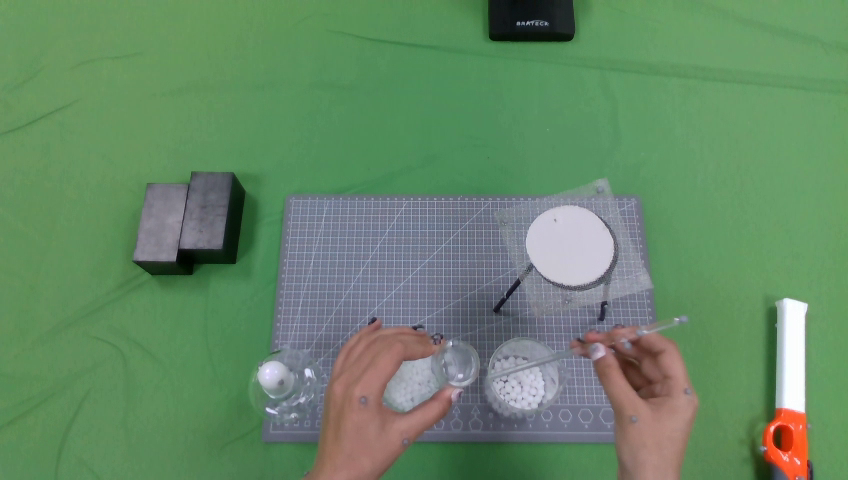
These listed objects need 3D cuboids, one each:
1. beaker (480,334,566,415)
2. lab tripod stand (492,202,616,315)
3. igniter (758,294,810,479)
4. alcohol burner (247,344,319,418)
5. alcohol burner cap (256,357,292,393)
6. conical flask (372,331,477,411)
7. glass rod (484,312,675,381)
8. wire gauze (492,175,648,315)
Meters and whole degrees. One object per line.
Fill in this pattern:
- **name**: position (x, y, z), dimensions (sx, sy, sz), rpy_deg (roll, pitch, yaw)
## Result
- **beaker**: position (0.100, 0.145, 0.641), dimensions (0.084, 0.101, 0.073), rpy_deg (-1, 70, -1)
- **lab tripod stand**: position (0.146, 0.028, 0.666), dimensions (0.148, 0.132, 0.147), rpy_deg (0, 71, 1)
- **igniter**: position (0.395, 0.193, 0.665), dimensions (0.057, 0.025, 0.275), rpy_deg (15, 70, -5)
- **alcohol burner**: position (-0.151, 0.145, 0.634), dimensions (0.078, 0.120, 0.077), rpy_deg (1, 71, -1)
- **alcohol burner cap**: position (-0.150, 0.132, 0.600), dimensions (0.034, 0.048, 0.033), rpy_deg (2, 67, -5)
- **conical flask**: position (0.005, 0.111, 0.534), dimensions (0.076, 0.122, 0.075), rpy_deg (6, 73, -20)
- **glass rod**: position (0.125, 0.096, 0.527), dimensions (0.008, 0.199, 0.008), rpy_deg (25, 51, -34)
- **wire gauze**: position (0.144, 0.003, 0.604), dimensions (0.125, 0.011, 0.120), rpy_deg (-16, 72, -5)
